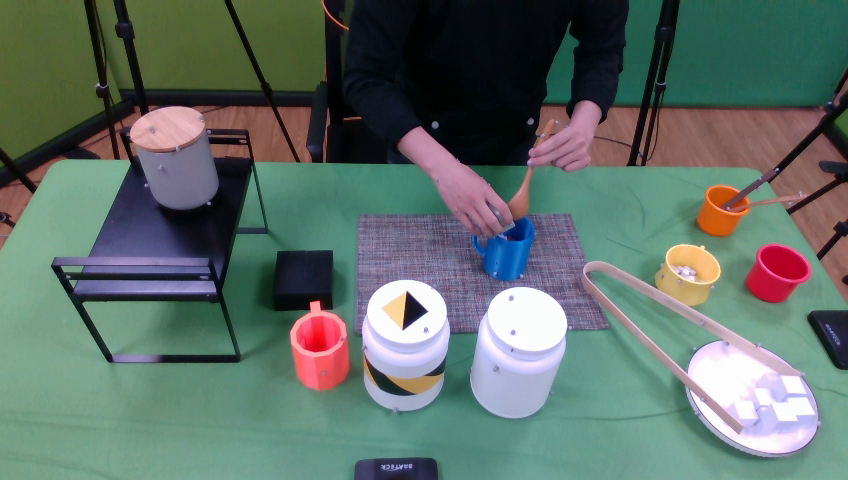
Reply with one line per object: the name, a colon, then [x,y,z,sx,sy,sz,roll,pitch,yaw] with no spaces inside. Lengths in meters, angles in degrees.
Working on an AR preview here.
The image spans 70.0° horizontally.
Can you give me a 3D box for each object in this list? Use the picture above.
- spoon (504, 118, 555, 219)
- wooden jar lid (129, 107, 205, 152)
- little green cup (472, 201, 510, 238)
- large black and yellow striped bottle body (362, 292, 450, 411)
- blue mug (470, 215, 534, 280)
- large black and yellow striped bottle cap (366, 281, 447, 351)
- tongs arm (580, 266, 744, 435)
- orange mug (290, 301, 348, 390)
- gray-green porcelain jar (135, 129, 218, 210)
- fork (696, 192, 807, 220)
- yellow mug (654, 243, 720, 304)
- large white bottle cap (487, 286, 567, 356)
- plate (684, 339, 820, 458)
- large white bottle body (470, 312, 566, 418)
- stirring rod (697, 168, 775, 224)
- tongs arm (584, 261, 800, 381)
spoon: [0.181,-0.118,1.037,0.042,0.194,0.021,11,24,-13]
wooden jar lid: [-0.385,-0.163,0.915,0.108,0.021,0.107,2,47,-2]
little green cup: [0.116,-0.035,1.068,0.062,0.039,0.061,28,29,-17]
large black and yellow striped bottle body: [-0.029,0.163,0.928,0.131,0.185,0.130,2,47,-2]
blue mug: [0.141,0.005,1.140,0.116,0.106,0.082,20,48,14]
large black and yellow striped bottle cap: [-0.025,0.106,0.865,0.115,0.019,0.114,2,46,-1]
tongs arm: [0.384,0.173,1.028,0.028,0.028,0.385,-25,46,-15]
orange mug: [-0.170,0.162,0.976,0.083,0.101,0.125,-7,52,-11]
gray-green porcelain jar: [-0.388,-0.120,0.960,0.106,0.127,0.105,2,46,-2]
fork: [0.655,-0.069,1.224,0.207,0.019,0.028,-17,33,45]
yellow mug: [0.504,0.054,1.154,0.099,0.064,0.130,29,50,22]
large white bottle cap: [0.147,0.114,0.869,0.115,0.018,0.114,3,46,-3]
plate: [0.523,0.256,0.982,0.208,0.039,0.206,2,46,-2]
large white bottle body: [0.143,0.173,0.930,0.131,0.185,0.130,2,46,-2]
stirring rod: [0.644,-0.090,1.252,0.176,0.006,0.014,-40,53,16]
tongs arm: [0.452,0.137,1.064,0.051,0.027,0.382,-34,50,-27]
